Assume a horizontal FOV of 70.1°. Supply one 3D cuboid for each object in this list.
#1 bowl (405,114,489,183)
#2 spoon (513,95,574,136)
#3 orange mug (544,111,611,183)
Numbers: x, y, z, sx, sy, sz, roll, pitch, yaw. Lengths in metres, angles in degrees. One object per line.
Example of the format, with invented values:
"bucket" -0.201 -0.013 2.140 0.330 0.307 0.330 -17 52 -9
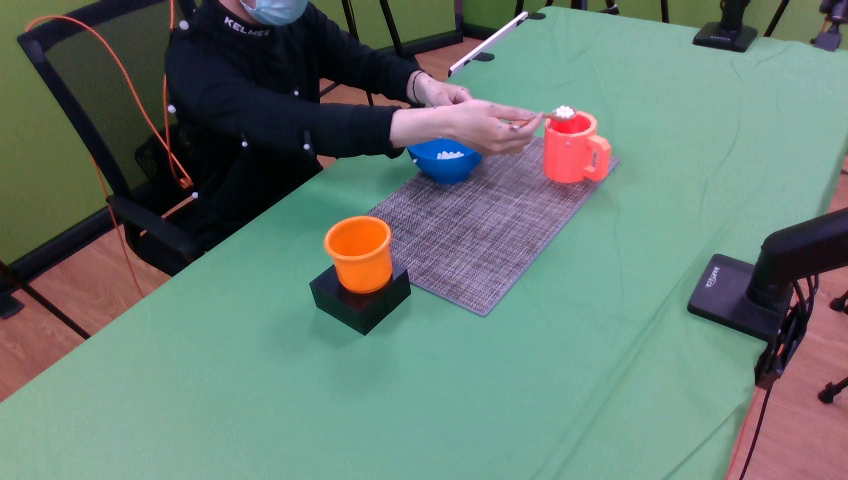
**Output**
"bowl" 0.044 -0.156 1.095 0.151 0.077 0.150 -4 41 4
"spoon" 0.192 -0.196 0.965 0.021 0.041 0.195 44 45 18
"orange mug" 0.266 -0.157 1.049 0.084 0.101 0.125 -33 42 -26
